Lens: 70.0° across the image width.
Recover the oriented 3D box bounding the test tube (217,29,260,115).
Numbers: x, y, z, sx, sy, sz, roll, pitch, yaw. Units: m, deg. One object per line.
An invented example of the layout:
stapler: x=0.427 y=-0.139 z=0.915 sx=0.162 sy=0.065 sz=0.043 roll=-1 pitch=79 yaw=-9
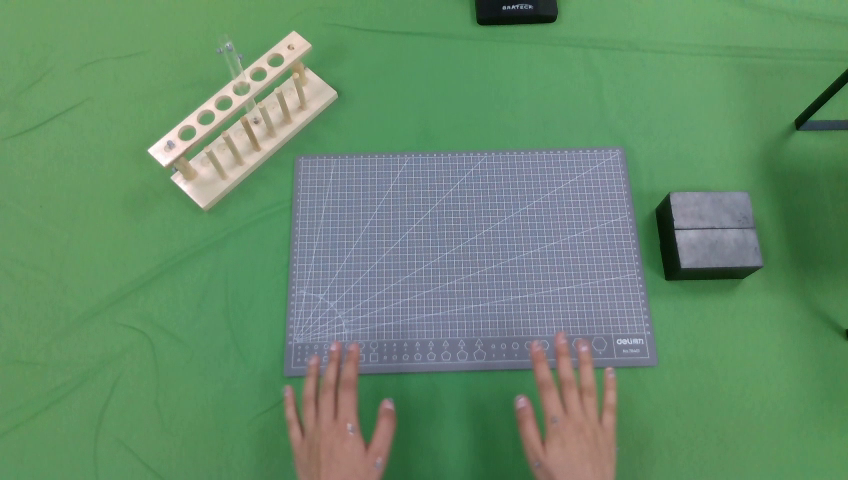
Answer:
test tube: x=-0.229 y=-0.204 z=0.757 sx=0.017 sy=0.151 sz=0.017 roll=0 pitch=66 yaw=-1

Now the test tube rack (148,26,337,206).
test tube rack: x=-0.229 y=-0.162 z=0.794 sx=0.066 sy=0.086 sz=0.242 roll=41 pitch=75 yaw=14
